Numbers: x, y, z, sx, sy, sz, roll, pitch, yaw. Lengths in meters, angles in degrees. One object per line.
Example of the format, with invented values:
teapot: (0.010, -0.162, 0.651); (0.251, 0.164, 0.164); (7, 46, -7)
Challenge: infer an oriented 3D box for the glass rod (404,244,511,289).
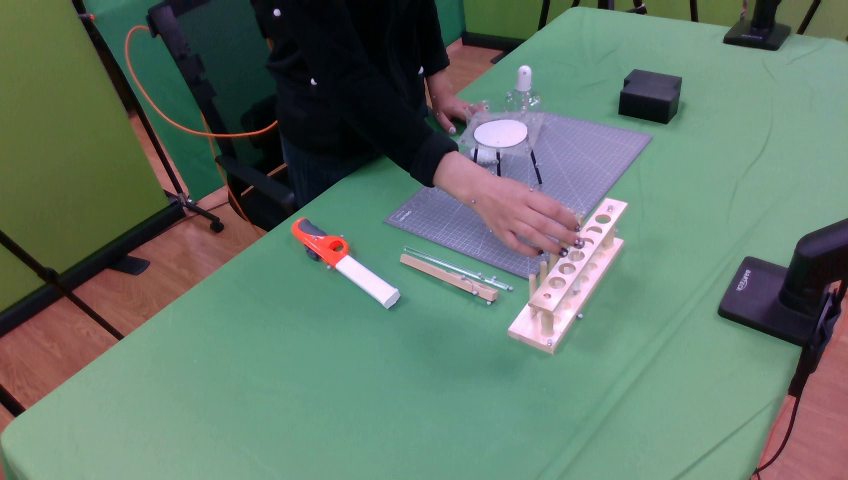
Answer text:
glass rod: (0.047, 0.039, 0.938); (0.198, 0.008, 0.008); (21, 49, 30)

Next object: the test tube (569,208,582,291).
test tube: (0.201, 0.017, 0.799); (0.017, 0.151, 0.017); (-7, 44, 8)

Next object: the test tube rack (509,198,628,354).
test tube rack: (0.206, 0.039, 0.849); (0.066, 0.085, 0.243); (20, 48, 31)

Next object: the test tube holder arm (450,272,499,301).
test tube holder arm: (0.071, 0.068, 0.894); (0.087, 0.015, 0.010); (22, 16, 33)

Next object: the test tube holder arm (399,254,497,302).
test tube holder arm: (0.032, 0.055, 0.913); (0.177, 0.015, 0.013); (21, 16, 32)

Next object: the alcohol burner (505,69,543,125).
alcohol burner: (0.201, -0.293, 1.216); (0.078, 0.119, 0.077); (-4, 41, 4)

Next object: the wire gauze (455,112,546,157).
wire gauze: (0.124, -0.176, 0.972); (0.124, 0.011, 0.121); (9, 42, 20)

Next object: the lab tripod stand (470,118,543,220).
lab tripod stand: (0.135, -0.128, 1.019); (0.148, 0.132, 0.147); (-5, 38, 5)

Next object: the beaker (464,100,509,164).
beaker: (0.120, -0.200, 1.133); (0.083, 0.101, 0.074); (5, 43, 16)

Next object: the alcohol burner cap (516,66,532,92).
alcohol burner cap: (0.199, -0.319, 1.192); (0.034, 0.048, 0.033); (-1, 47, 1)

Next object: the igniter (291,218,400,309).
igniter: (-0.135, 0.031, 0.970); (0.057, 0.025, 0.274); (-41, 49, -19)
